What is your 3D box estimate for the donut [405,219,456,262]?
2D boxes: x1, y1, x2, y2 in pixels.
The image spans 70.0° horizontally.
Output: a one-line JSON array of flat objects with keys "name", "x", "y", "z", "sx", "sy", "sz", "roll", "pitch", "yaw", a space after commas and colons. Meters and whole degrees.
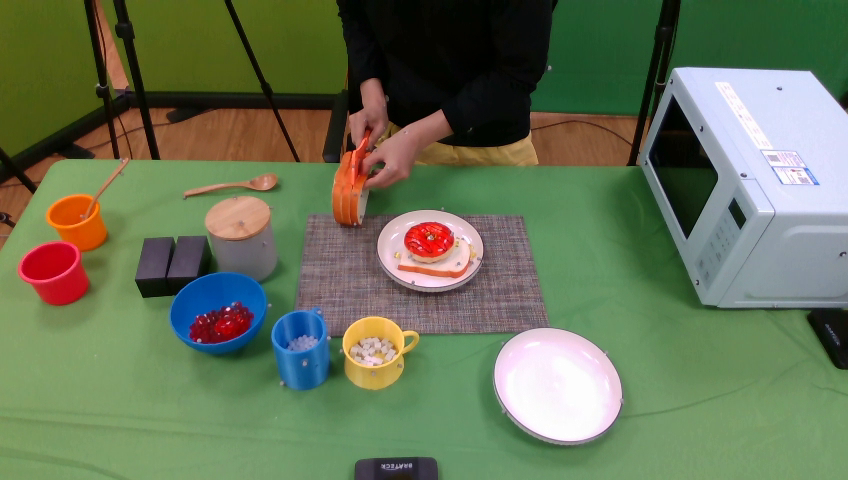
[{"name": "donut", "x": 0.012, "y": -0.001, "z": 1.140, "sx": 0.099, "sy": 0.048, "sz": 0.098, "roll": 0, "pitch": 44, "yaw": 0}]

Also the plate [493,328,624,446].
[{"name": "plate", "x": 0.213, "y": 0.236, "z": 0.974, "sx": 0.208, "sy": 0.039, "sz": 0.206, "roll": 2, "pitch": 46, "yaw": -2}]

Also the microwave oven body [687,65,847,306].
[{"name": "microwave oven body", "x": 0.669, "y": -0.111, "z": 1.176, "sx": 0.326, "sy": 0.261, "sz": 0.439, "roll": 0, "pitch": 46, "yaw": -3}]

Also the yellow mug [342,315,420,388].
[{"name": "yellow mug", "x": -0.068, "y": 0.177, "z": 0.990, "sx": 0.131, "sy": 0.064, "sz": 0.099, "roll": -15, "pitch": 50, "yaw": -19}]

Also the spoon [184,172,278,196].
[{"name": "spoon", "x": -0.405, "y": -0.116, "z": 1.275, "sx": 0.194, "sy": 0.022, "sz": 0.041, "roll": -8, "pitch": 66, "yaw": -12}]

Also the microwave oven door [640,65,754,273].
[{"name": "microwave oven door", "x": 0.522, "y": -0.147, "z": 1.193, "sx": 0.039, "sy": 0.245, "sz": 0.353, "roll": 0, "pitch": 47, "yaw": -3}]

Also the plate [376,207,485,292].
[{"name": "plate", "x": 0.012, "y": 0.021, "z": 1.159, "sx": 0.209, "sy": 0.038, "sz": 0.208, "roll": 2, "pitch": 47, "yaw": -2}]

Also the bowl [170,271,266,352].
[{"name": "bowl", "x": -0.334, "y": 0.132, "z": 1.006, "sx": 0.151, "sy": 0.077, "sz": 0.150, "roll": 2, "pitch": 46, "yaw": -2}]

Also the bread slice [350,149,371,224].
[{"name": "bread slice", "x": -0.128, "y": -0.100, "z": 1.226, "sx": 0.018, "sy": 0.107, "sz": 0.133, "roll": 5, "pitch": 52, "yaw": 4}]

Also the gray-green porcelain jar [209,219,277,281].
[{"name": "gray-green porcelain jar", "x": -0.323, "y": 0.007, "z": 1.092, "sx": 0.106, "sy": 0.127, "sz": 0.105, "roll": 2, "pitch": 46, "yaw": -2}]

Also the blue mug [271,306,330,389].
[{"name": "blue mug", "x": -0.188, "y": 0.163, "z": 0.969, "sx": 0.082, "sy": 0.106, "sz": 0.116, "roll": 15, "pitch": 47, "yaw": 10}]

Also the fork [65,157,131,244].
[{"name": "fork", "x": -0.609, "y": -0.074, "z": 1.132, "sx": 0.207, "sy": 0.019, "sz": 0.028, "roll": -52, "pitch": 48, "yaw": 10}]

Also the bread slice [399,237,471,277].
[{"name": "bread slice", "x": 0.025, "y": 0.025, "z": 1.161, "sx": 0.131, "sy": 0.019, "sz": 0.104, "roll": 7, "pitch": 47, "yaw": 7}]

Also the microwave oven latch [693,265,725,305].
[{"name": "microwave oven latch", "x": 0.522, "y": 0.081, "z": 1.115, "sx": 0.030, "sy": 0.029, "sz": 0.078, "roll": 2, "pitch": 46, "yaw": -1}]

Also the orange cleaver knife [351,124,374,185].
[{"name": "orange cleaver knife", "x": -0.127, "y": -0.180, "z": 1.249, "sx": 0.012, "sy": 0.077, "sz": 0.210, "roll": 6, "pitch": 30, "yaw": 3}]

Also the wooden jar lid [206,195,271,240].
[{"name": "wooden jar lid", "x": -0.319, "y": -0.036, "z": 1.046, "sx": 0.108, "sy": 0.021, "sz": 0.107, "roll": 1, "pitch": 44, "yaw": 0}]
